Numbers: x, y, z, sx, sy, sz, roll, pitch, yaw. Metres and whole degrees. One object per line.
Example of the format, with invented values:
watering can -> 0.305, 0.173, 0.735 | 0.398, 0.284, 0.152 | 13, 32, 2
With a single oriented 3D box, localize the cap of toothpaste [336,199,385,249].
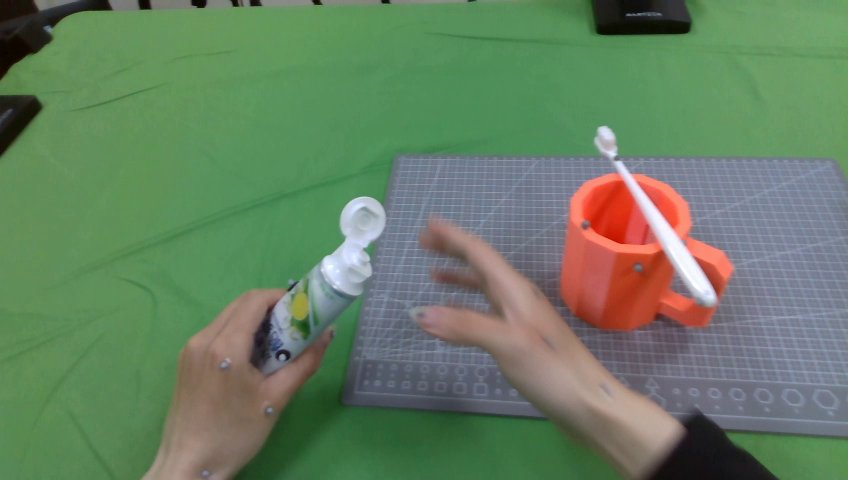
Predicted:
cap of toothpaste -> -0.043, -0.011, 0.419 | 0.037, 0.037, 0.011 | -29, 22, -19

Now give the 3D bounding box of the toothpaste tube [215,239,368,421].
toothpaste tube -> -0.097, 0.059, 0.431 | 0.165, 0.035, 0.054 | -45, 53, 20

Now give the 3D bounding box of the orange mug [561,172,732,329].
orange mug -> 0.170, 0.016, 0.476 | 0.125, 0.102, 0.083 | 25, 55, 31

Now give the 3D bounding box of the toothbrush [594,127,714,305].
toothbrush -> 0.164, -0.026, 0.444 | 0.014, 0.017, 0.180 | -10, 48, -6
